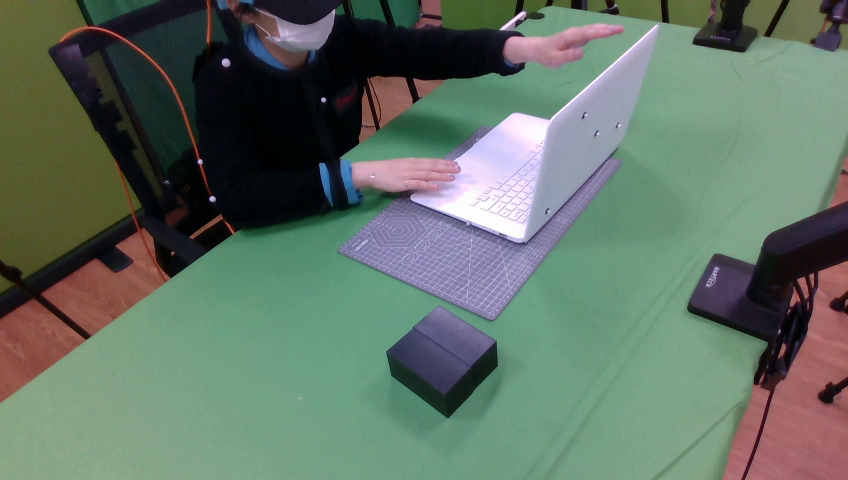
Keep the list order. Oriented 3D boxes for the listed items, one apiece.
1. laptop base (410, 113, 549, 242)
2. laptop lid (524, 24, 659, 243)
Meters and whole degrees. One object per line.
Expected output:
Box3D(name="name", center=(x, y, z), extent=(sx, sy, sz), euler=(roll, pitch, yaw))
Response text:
Box3D(name="laptop base", center=(0.171, -0.127, 1.096), extent=(0.233, 0.023, 0.355), euler=(21, 47, 34))
Box3D(name="laptop lid", center=(0.266, -0.170, 0.949), extent=(0.013, 0.242, 0.358), euler=(30, 50, 25))
